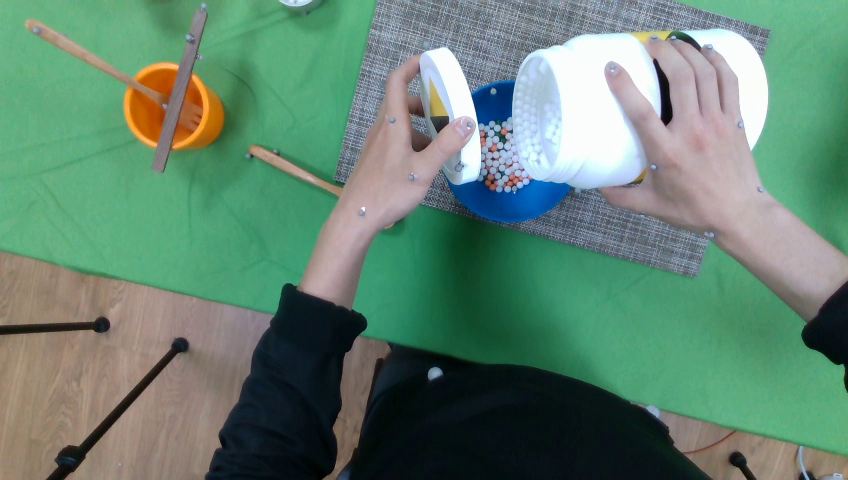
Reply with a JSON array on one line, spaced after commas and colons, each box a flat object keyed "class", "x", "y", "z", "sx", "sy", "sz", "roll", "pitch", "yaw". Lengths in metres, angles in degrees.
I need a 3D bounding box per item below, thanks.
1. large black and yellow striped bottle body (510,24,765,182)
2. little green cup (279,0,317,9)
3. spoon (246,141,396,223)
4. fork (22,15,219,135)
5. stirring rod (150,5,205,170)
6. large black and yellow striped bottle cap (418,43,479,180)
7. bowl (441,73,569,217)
[{"class": "large black and yellow striped bottle body", "x": 0.180, "y": -0.120, "z": 0.535, "sx": 0.184, "sy": 0.130, "sz": 0.131, "roll": -7, "pitch": 95, "yaw": -14}, {"class": "little green cup", "x": -0.144, "y": -0.292, "z": 0.681, "sx": 0.061, "sy": 0.038, "sz": 0.061, "roll": 0, "pitch": 95, "yaw": 1}, {"class": "spoon", "x": -0.121, "y": -0.073, "z": 0.710, "sx": 0.194, "sy": 0.021, "sz": 0.042, "roll": 25, "pitch": 108, "yaw": -3}, {"class": "fork", "x": -0.310, "y": -0.169, "z": 0.637, "sx": 0.209, "sy": 0.018, "sz": 0.028, "roll": 30, "pitch": 98, "yaw": -46}, {"class": "stirring rod", "x": -0.258, "y": -0.159, "z": 0.635, "sx": 0.014, "sy": 0.006, "sz": 0.176, "roll": 17, "pitch": 95, "yaw": -3}, {"class": "large black and yellow striped bottle cap", "x": 0.019, "y": -0.108, "z": 0.519, "sx": 0.019, "sy": 0.114, "sz": 0.115, "roll": -16, "pitch": 95, "yaw": -10}, {"class": "bowl", "x": 0.089, "y": -0.102, "z": 0.677, "sx": 0.151, "sy": 0.076, "sz": 0.151, "roll": 0, "pitch": 96, "yaw": 0}]
